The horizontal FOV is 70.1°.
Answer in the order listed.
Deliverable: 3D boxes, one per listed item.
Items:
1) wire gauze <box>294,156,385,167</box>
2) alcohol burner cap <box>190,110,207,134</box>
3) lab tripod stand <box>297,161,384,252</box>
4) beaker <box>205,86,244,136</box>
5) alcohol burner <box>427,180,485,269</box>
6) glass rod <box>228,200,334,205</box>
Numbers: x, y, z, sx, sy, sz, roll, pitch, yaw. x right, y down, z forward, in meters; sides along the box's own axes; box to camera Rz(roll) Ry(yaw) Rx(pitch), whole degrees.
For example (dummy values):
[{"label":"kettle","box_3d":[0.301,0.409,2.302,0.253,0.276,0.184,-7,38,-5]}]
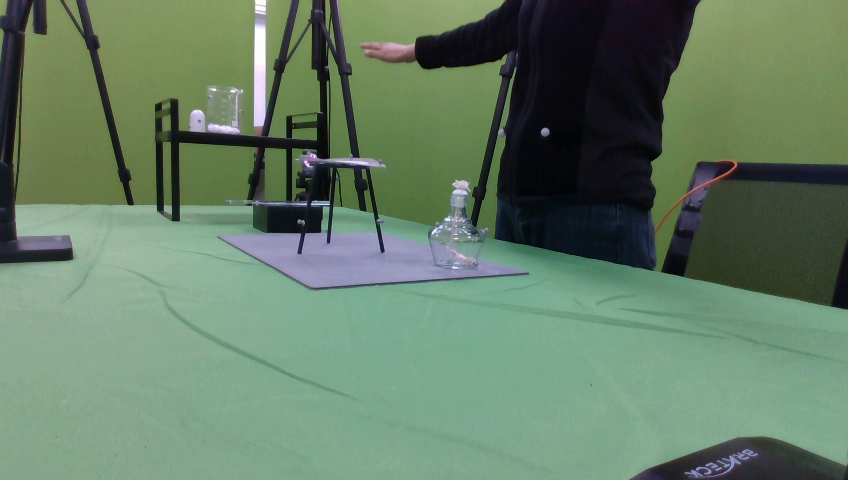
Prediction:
[{"label":"wire gauze","box_3d":[-0.128,-0.118,0.901,0.125,0.011,0.121,0,8,-14]},{"label":"alcohol burner cap","box_3d":[-0.464,-0.242,1.241,0.034,0.048,0.034,1,7,0]},{"label":"lab tripod stand","box_3d":[-0.130,-0.051,0.903,0.148,0.131,0.148,3,9,0]},{"label":"beaker","box_3d":[-0.430,-0.278,1.310,0.084,0.100,0.074,5,8,13]},{"label":"alcohol burner","box_3d":[0.044,-0.021,0.807,0.078,0.119,0.078,4,6,0]},{"label":"glass rod","box_3d":[-0.268,-0.071,1.148,0.201,0.008,0.008,-1,8,-28]}]
